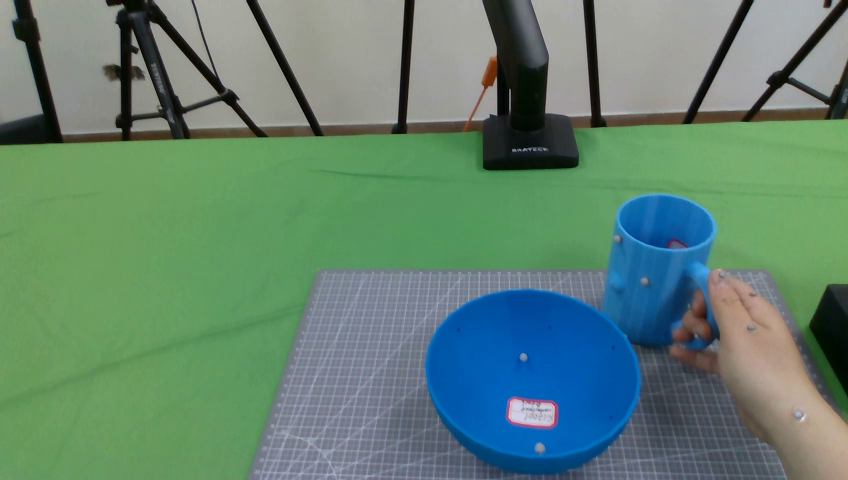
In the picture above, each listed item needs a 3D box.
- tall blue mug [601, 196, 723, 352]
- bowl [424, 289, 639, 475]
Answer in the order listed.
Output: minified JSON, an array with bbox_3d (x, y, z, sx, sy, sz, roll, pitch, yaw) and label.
[{"bbox_3d":[0.209,0.034,0.513,0.106,0.109,0.078,28,49,33],"label":"tall blue mug"},{"bbox_3d":[0.077,0.116,0.451,0.151,0.077,0.150,-3,39,3],"label":"bowl"}]
